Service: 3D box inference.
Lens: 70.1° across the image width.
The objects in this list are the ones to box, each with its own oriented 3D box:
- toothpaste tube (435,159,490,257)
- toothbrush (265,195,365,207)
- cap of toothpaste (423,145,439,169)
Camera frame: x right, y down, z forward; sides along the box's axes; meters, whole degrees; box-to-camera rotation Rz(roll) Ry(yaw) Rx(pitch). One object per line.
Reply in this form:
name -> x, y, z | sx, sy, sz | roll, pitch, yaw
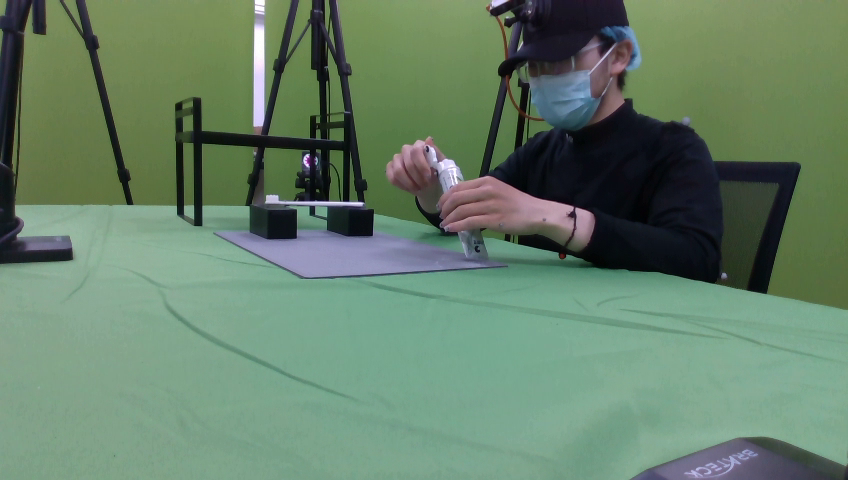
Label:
toothpaste tube -> 0.054, -0.050, 0.894 | 0.055, 0.164, 0.034 | 1, -28, -45
toothbrush -> -0.192, -0.068, 1.082 | 0.183, 0.016, 0.014 | 1, -8, -26
cap of toothpaste -> 0.011, -0.127, 0.916 | 0.011, 0.037, 0.037 | -14, 14, -25
